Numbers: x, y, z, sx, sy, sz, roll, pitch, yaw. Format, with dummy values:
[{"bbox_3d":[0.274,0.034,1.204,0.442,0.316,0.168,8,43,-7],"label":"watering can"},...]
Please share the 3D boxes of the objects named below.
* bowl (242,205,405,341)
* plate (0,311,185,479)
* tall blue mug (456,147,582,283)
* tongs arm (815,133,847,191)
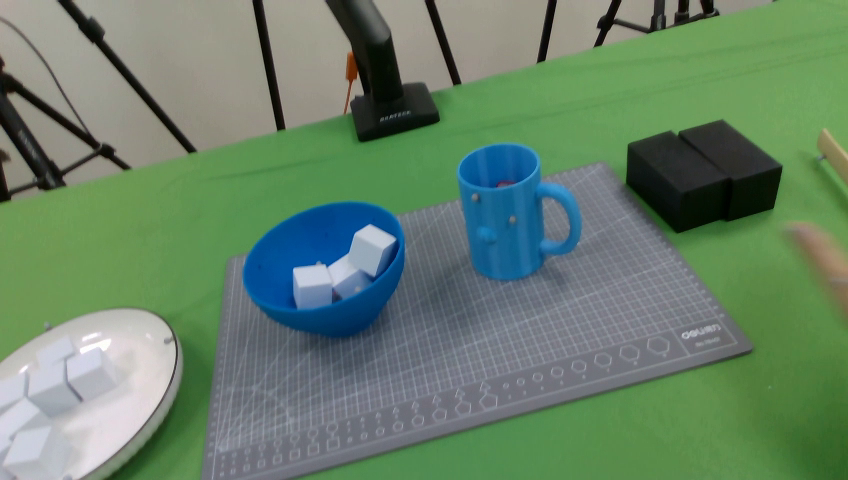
[{"bbox_3d":[-0.085,0.042,0.573,0.151,0.077,0.150,-8,39,7],"label":"bowl"},{"bbox_3d":[-0.314,0.150,0.544,0.209,0.038,0.207,-7,39,6],"label":"plate"},{"bbox_3d":[0.091,-0.025,0.579,0.107,0.109,0.077,-7,38,8],"label":"tall blue mug"},{"bbox_3d":[0.427,0.018,0.493,0.051,0.027,0.381,-2,40,7],"label":"tongs arm"}]
